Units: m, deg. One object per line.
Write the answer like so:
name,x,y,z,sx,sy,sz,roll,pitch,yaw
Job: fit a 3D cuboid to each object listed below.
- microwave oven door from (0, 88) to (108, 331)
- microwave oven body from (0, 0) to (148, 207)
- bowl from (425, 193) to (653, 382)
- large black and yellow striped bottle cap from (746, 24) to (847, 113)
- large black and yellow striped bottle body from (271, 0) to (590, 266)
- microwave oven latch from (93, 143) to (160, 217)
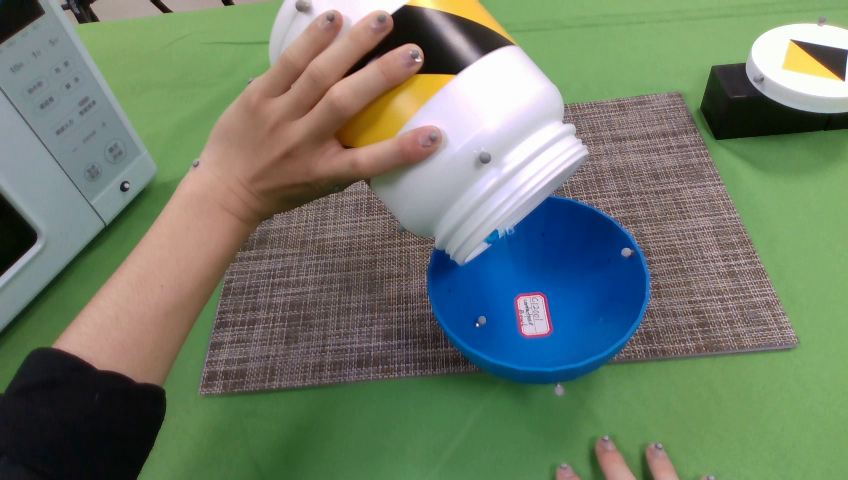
microwave oven door,-0.401,0.033,0.391,0.039,0.246,0.354,17,55,21
microwave oven body,-0.513,-0.034,0.468,0.324,0.263,0.439,17,56,20
bowl,0.080,0.045,0.440,0.151,0.077,0.150,-4,50,5
large black and yellow striped bottle cap,0.357,-0.158,0.549,0.115,0.019,0.114,-5,50,6
large black and yellow striped bottle body,0.006,-0.086,0.394,0.130,0.131,0.183,-37,83,-21
microwave oven latch,-0.293,-0.060,0.586,0.030,0.030,0.079,19,56,21
